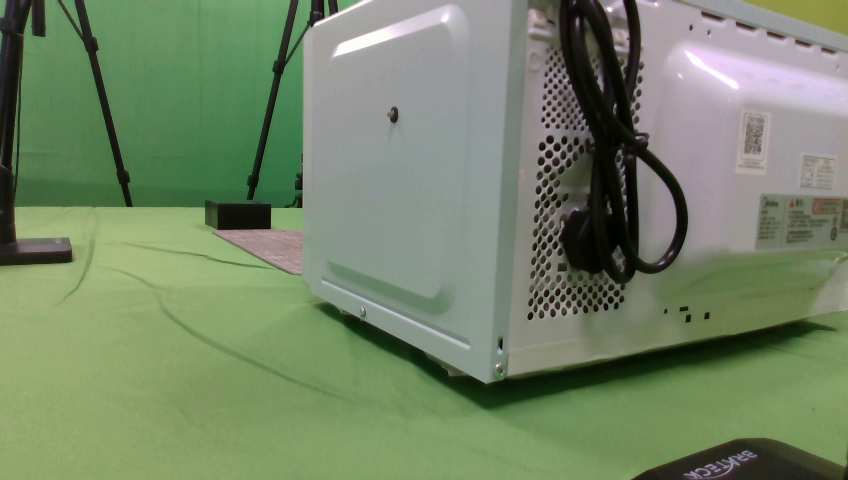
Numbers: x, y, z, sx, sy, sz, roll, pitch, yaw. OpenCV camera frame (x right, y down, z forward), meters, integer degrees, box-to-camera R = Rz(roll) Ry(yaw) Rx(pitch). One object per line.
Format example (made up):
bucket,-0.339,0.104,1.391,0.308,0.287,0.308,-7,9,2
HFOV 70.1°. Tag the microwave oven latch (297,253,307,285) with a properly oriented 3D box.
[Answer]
microwave oven latch,-0.082,0.027,0.582,0.079,0.029,0.030,-1,7,-31

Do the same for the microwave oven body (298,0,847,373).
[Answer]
microwave oven body,0.151,-0.055,0.543,0.444,0.260,0.324,-1,7,-33

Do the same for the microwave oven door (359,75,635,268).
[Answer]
microwave oven door,0.089,-0.097,0.814,0.355,0.243,0.039,4,7,12
